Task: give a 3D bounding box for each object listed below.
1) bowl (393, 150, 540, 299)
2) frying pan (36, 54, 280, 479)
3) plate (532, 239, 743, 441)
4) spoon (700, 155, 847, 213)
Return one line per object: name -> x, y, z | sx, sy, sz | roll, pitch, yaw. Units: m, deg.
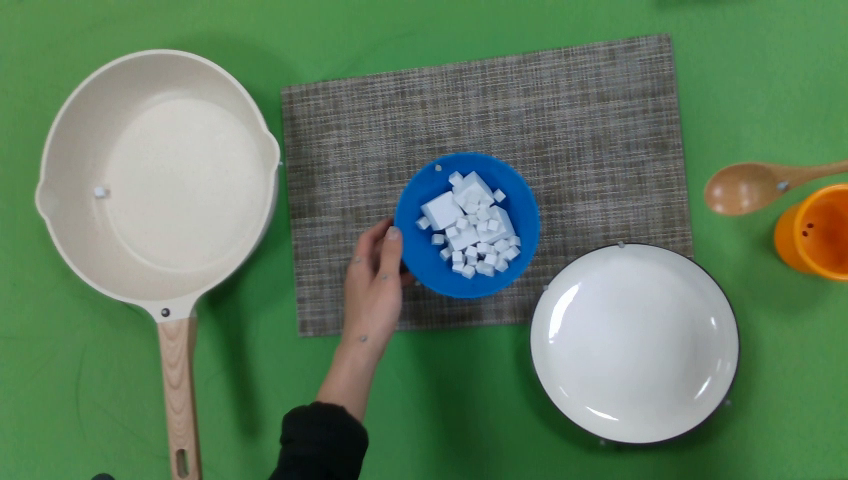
bowl -> 0.049, -0.013, 0.649 | 0.151, 0.077, 0.151 | 0, 88, 10
frying pan -> -0.288, 0.034, 0.696 | 0.306, 0.103, 0.485 | -10, 78, 10
plate -> 0.219, 0.103, 0.638 | 0.207, 0.039, 0.207 | 0, 90, 10
spoon -> 0.290, -0.054, 0.423 | 0.193, 0.022, 0.041 | -15, 98, 50
